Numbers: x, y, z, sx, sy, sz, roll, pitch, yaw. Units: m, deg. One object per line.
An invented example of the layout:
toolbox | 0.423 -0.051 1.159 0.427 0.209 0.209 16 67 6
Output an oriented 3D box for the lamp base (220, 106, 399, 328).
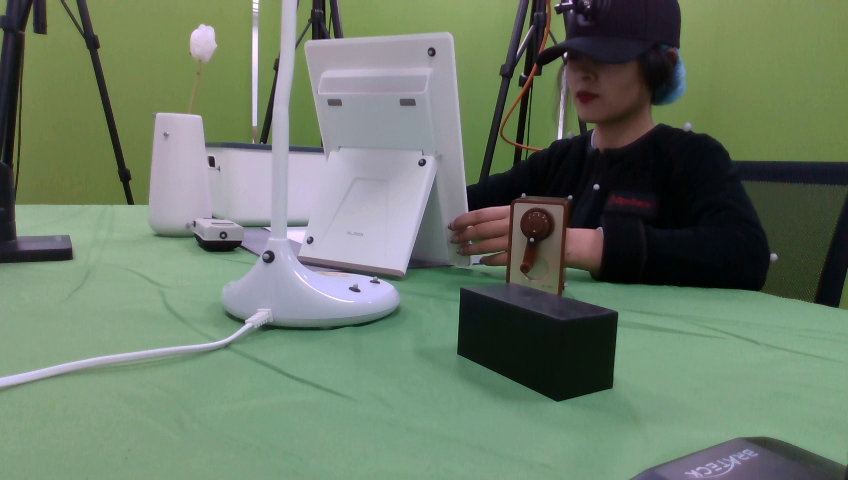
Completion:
lamp base | -0.102 -0.023 0.531 0.160 0.180 0.179 4 10 10

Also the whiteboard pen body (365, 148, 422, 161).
whiteboard pen body | -0.043 -0.124 0.876 0.017 0.017 0.141 7 12 29

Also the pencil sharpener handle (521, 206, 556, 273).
pencil sharpener handle | 0.111 0.000 0.612 0.036 0.067 0.031 13 10 14

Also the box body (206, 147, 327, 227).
box body | -0.276 -0.122 1.320 0.366 0.160 0.253 -2 9 -30

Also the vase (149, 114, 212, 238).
vase | -0.405 -0.106 1.005 0.098 0.200 0.098 2 6 0

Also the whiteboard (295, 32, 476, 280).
whiteboard | -0.076 -0.083 0.747 0.216 0.305 0.144 7 28 29

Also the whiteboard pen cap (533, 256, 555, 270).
whiteboard pen cap | 0.166 0.032 0.839 0.018 0.018 0.033 -1 5 -23

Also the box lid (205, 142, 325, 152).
box lid | -0.270 -0.196 1.310 0.373 0.015 0.262 -2 9 -30

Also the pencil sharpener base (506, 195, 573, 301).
pencil sharpener base | 0.127 0.007 0.662 0.061 0.107 0.077 5 8 15

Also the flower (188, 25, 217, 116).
flower | -0.394 -0.189 1.011 0.044 0.361 0.038 -1 -13 27

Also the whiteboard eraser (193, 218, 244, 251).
whiteboard eraser | -0.307 -0.009 0.900 0.056 0.042 0.112 -3 10 -29
